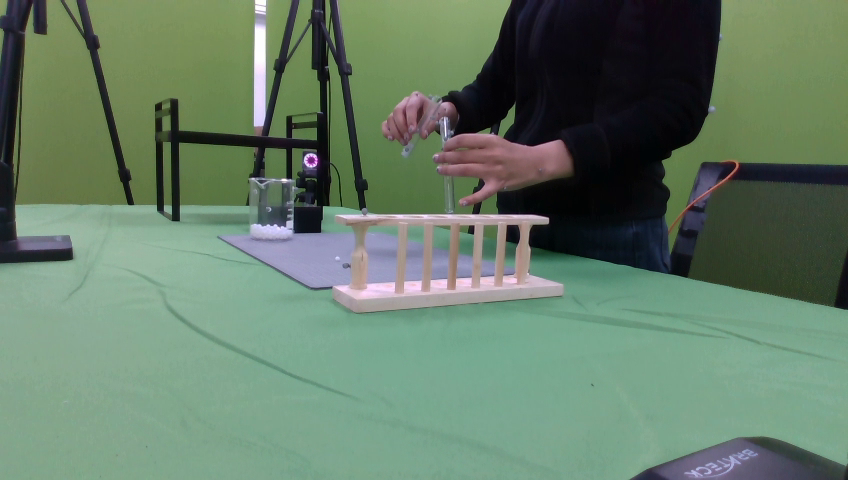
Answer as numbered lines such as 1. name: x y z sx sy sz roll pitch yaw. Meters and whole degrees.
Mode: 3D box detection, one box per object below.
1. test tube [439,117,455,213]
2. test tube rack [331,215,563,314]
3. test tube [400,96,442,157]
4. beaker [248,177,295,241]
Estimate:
1. test tube: 0.033 -0.110 0.876 0.017 0.150 0.017 -3 -17 0
2. test tube rack: 0.031 0.019 0.625 0.243 0.085 0.066 -1 8 -28
3. test tube: -0.007 -0.179 0.971 0.017 0.017 0.150 -1 -26 -26
4. beaker: -0.252 -0.051 0.992 0.074 0.100 0.084 3 9 6
